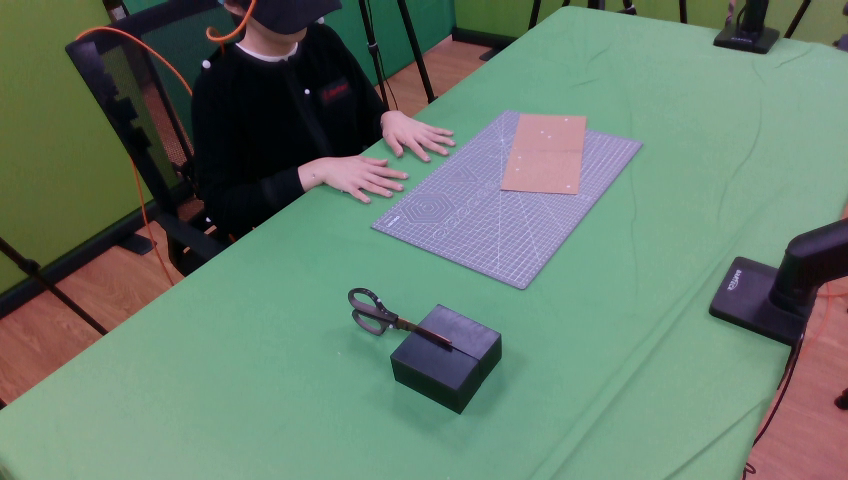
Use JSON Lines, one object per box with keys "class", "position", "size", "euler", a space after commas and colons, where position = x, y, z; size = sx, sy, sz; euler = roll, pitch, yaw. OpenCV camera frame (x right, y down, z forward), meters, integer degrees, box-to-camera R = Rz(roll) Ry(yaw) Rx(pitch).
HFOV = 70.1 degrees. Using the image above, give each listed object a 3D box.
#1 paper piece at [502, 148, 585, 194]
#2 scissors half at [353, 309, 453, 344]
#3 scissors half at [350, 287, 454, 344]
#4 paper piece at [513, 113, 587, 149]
{"class": "paper piece", "position": [0.219, -0.128, 1.101], "size": [0.135, 0.009, 0.138], "euler": [2, 42, 17]}
{"class": "scissors half", "position": [-0.030, 0.119, 0.806], "size": [0.174, 0.040, 0.013], "euler": [6, 34, 40]}
{"class": "scissors half", "position": [-0.032, 0.101, 0.796], "size": [0.174, 0.040, 0.013], "euler": [23, 39, 29]}
{"class": "paper piece", "position": [0.251, -0.215, 1.197], "size": [0.135, 0.004, 0.135], "euler": [6, 42, 14]}
